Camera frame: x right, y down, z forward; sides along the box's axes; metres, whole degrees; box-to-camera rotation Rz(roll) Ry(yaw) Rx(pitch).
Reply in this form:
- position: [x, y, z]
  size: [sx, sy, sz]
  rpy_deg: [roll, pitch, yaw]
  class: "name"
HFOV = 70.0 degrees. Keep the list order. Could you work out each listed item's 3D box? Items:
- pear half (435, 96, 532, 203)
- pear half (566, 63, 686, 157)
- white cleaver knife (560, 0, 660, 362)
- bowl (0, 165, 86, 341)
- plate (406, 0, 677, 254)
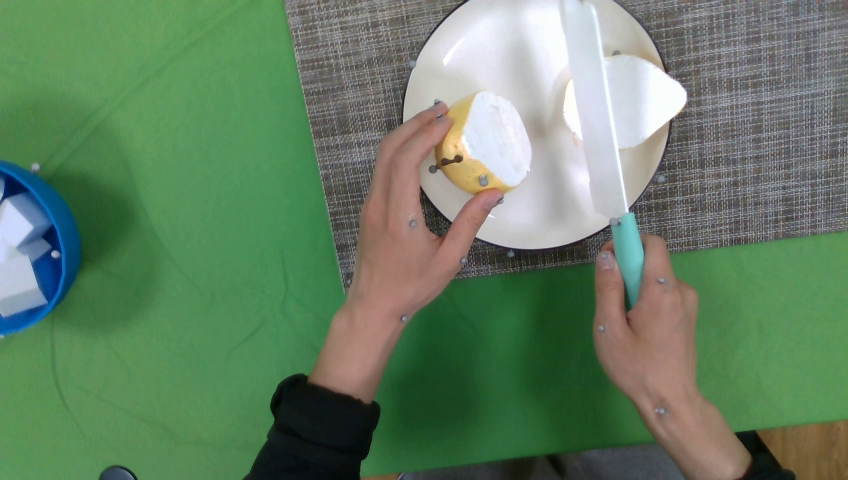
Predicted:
- position: [0.031, -0.058, 0.433]
  size: [0.056, 0.110, 0.076]
  rpy_deg: [-25, 90, 33]
  class: "pear half"
- position: [0.156, -0.101, 0.472]
  size: [0.087, 0.031, 0.070]
  rpy_deg: [2, 102, 21]
  class: "pear half"
- position: [0.141, -0.034, 0.452]
  size: [0.021, 0.065, 0.288]
  rpy_deg: [-16, 110, -3]
  class: "white cleaver knife"
- position: [-0.353, 0.003, 0.518]
  size: [0.151, 0.076, 0.152]
  rpy_deg: [1, 104, 3]
  class: "bowl"
- position: [0.090, -0.093, 0.483]
  size: [0.207, 0.039, 0.208]
  rpy_deg: [1, 104, 4]
  class: "plate"
